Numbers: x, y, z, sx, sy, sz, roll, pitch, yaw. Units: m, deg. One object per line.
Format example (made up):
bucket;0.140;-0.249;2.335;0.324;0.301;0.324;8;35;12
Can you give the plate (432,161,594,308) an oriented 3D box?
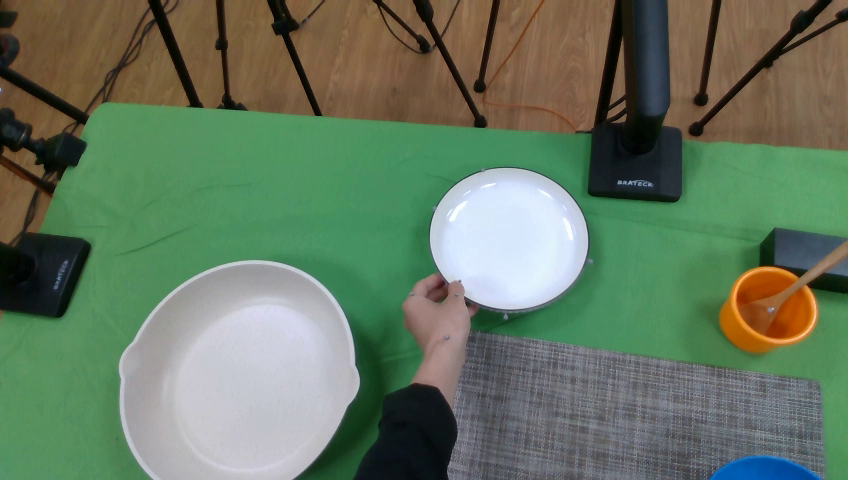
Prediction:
plate;0.115;-0.006;0.796;0.207;0.039;0.206;-1;66;3

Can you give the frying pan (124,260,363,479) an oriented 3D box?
frying pan;-0.234;0.258;0.704;0.306;0.104;0.484;4;59;11

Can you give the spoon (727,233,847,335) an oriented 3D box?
spoon;0.421;0.042;0.676;0.022;0.194;0.041;-4;51;-43

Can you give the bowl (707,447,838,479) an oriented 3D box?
bowl;0.348;0.292;0.614;0.151;0.077;0.150;-3;66;7
